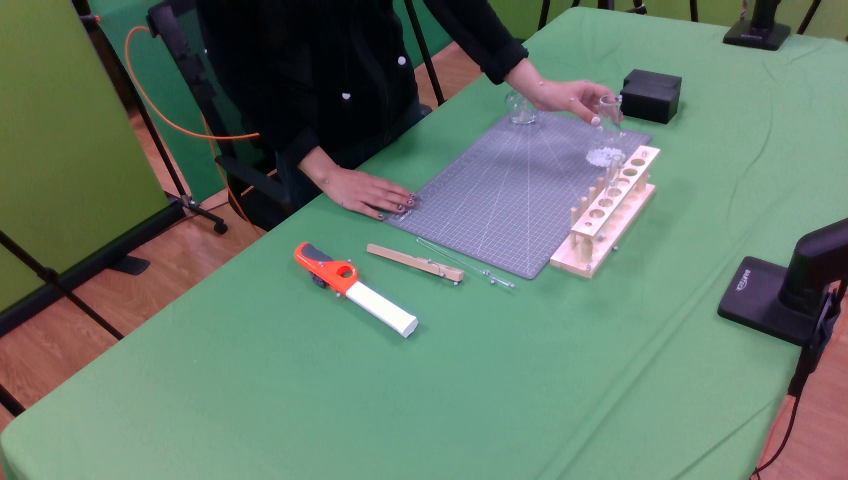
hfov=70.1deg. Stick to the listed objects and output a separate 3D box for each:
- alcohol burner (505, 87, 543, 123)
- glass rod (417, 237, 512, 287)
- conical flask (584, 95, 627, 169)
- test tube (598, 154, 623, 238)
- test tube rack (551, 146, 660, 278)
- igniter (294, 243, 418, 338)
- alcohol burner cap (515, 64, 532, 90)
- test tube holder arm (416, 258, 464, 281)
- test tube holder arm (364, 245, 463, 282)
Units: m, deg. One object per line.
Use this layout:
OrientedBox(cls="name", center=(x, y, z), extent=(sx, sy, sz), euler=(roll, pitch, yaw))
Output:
OrientedBox(cls="alcohol burner", center=(0.202, -0.297, 1.222), extent=(0.078, 0.119, 0.077), euler=(-4, 40, 4))
OrientedBox(cls="glass rod", center=(0.059, 0.032, 0.945), extent=(0.198, 0.008, 0.008), euler=(26, 52, 38))
OrientedBox(cls="conical flask", center=(0.324, -0.192, 1.066), extent=(0.075, 0.122, 0.075), euler=(-6, 40, 5))
OrientedBox(cls="test tube", center=(0.269, -0.059, 0.876), extent=(0.017, 0.151, 0.017), euler=(-2, 43, 3))
OrientedBox(cls="test tube rack", center=(0.286, -0.053, 0.943), extent=(0.066, 0.085, 0.243), euler=(21, 49, 32))
OrientedBox(cls="igniter", center=(-0.114, 0.070, 0.919), extent=(0.274, 0.025, 0.057), euler=(29, 63, 37))
OrientedBox(cls="alcohol burner cap", center=(0.199, -0.325, 1.198), extent=(0.034, 0.048, 0.033), euler=(0, 45, 1))
OrientedBox(cls="test tube holder arm", center=(0.022, 0.045, 0.931), extent=(0.087, 0.015, 0.010), euler=(16, 10, 28))
OrientedBox(cls="test tube holder arm", center=(-0.020, 0.035, 0.947), extent=(0.177, 0.015, 0.013), euler=(16, 9, 26))
